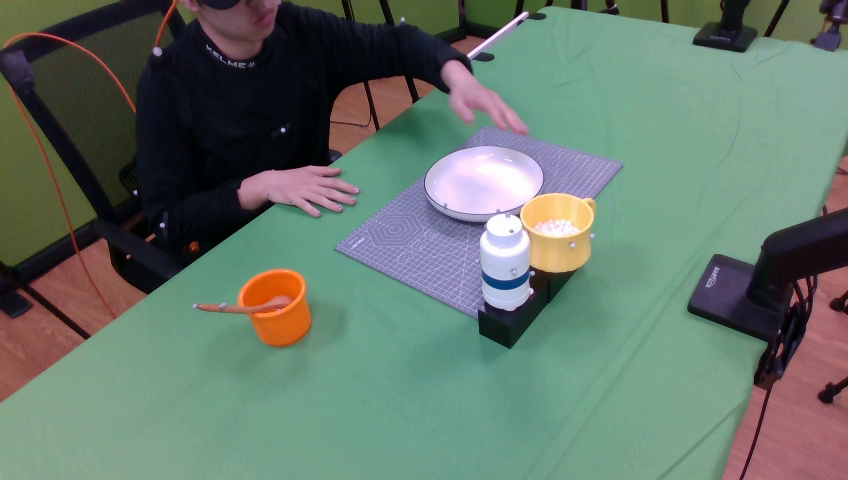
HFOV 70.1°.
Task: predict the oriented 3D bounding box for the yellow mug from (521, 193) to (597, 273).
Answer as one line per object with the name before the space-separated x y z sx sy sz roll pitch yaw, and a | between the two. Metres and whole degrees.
yellow mug | 0.197 -0.019 0.852 0.131 0.064 0.099 -30 46 -25

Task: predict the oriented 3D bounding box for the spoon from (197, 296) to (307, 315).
spoon | -0.220 0.088 0.792 0.041 0.021 0.195 20 7 25

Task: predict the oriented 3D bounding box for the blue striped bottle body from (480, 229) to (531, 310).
blue striped bottle body | 0.104 0.027 0.769 0.063 0.121 0.063 -4 41 4

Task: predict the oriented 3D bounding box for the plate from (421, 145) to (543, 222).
plate | 0.101 -0.094 1.048 0.207 0.039 0.206 -4 41 4

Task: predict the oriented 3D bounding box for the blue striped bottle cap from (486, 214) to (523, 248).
blue striped bottle cap | 0.098 -0.011 0.735 0.044 0.021 0.044 -3 38 3
